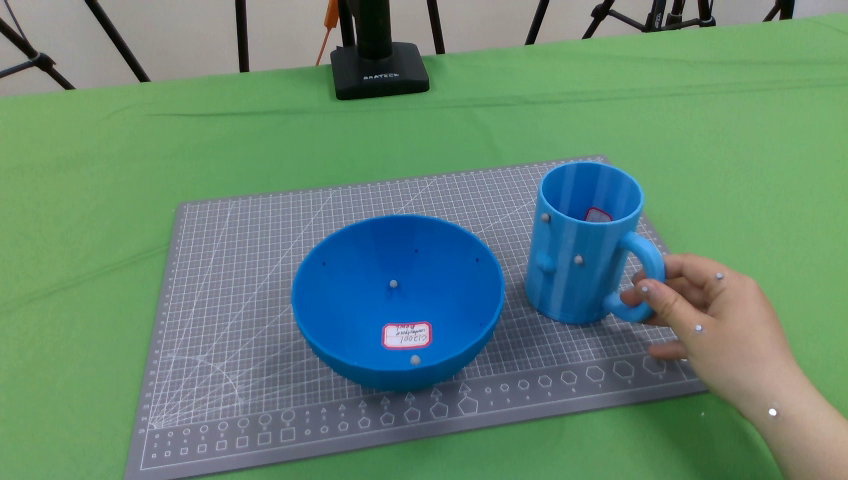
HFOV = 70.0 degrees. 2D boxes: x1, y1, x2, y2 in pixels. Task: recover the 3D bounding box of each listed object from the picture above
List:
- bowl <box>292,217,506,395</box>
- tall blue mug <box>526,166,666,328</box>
[{"bbox_3d":[-0.017,0.060,0.450,0.151,0.077,0.150,0,43,1],"label":"bowl"},{"bbox_3d":[0.138,0.012,0.476,0.106,0.109,0.077,18,45,20],"label":"tall blue mug"}]
